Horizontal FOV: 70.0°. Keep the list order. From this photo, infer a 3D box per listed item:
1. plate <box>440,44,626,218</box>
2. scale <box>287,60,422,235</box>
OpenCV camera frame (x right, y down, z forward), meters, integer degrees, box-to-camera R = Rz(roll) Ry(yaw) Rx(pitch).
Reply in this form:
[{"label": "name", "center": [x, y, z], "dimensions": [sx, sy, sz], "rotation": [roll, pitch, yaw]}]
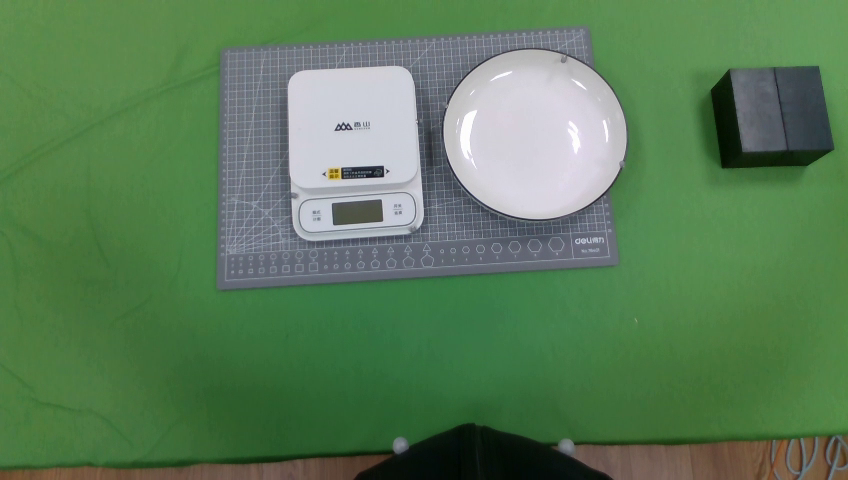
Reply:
[{"label": "plate", "center": [0.122, -0.122, 0.691], "dimensions": [0.209, 0.038, 0.208], "rotation": [0, 77, 0]}, {"label": "scale", "center": [-0.081, -0.108, 0.694], "dimensions": [0.149, 0.032, 0.200], "rotation": [-4, 78, 0]}]
